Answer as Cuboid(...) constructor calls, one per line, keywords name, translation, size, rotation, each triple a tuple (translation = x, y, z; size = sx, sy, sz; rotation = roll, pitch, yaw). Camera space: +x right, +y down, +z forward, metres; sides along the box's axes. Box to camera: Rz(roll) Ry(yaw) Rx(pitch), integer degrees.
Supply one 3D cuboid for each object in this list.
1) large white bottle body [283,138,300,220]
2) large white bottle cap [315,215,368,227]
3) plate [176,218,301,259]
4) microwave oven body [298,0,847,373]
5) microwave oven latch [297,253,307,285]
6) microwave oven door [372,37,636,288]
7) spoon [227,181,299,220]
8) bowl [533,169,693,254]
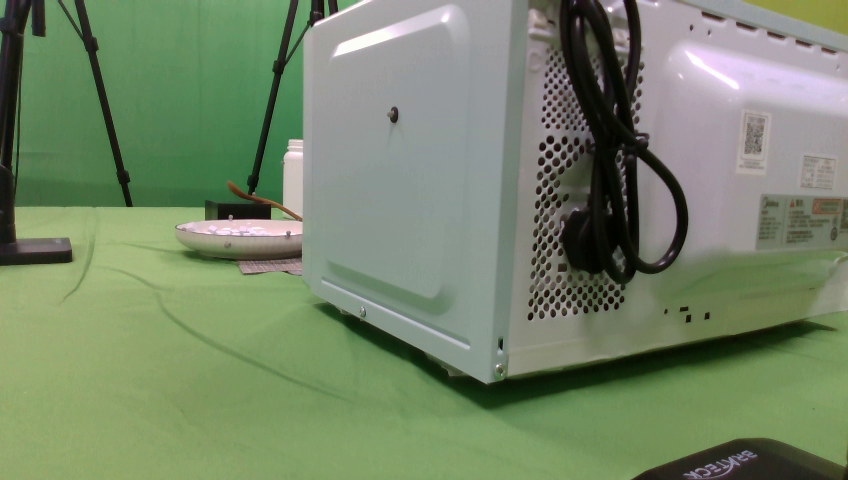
Cuboid(name="large white bottle body", translation=(-0.265, -0.143, 1.424), size=(0.131, 0.184, 0.130), rotation=(2, 7, 0))
Cuboid(name="large white bottle cap", translation=(-0.178, -0.041, 1.308), size=(0.115, 0.018, 0.115), rotation=(2, 6, 0))
Cuboid(name="plate", translation=(-0.248, -0.003, 0.877), size=(0.209, 0.038, 0.209), rotation=(1, 8, 0))
Cuboid(name="microwave oven body", translation=(0.151, -0.055, 0.543), size=(0.444, 0.260, 0.324), rotation=(-1, 7, -33))
Cuboid(name="microwave oven latch", translation=(-0.082, 0.027, 0.582), size=(0.079, 0.029, 0.030), rotation=(-1, 7, -32))
Cuboid(name="microwave oven door", translation=(0.110, -0.080, 0.686), size=(0.358, 0.243, 0.039), rotation=(-2, 9, -33))
Cuboid(name="spoon", translation=(-0.315, -0.074, 1.234), size=(0.195, 0.021, 0.041), rotation=(24, -9, -37))
Cuboid(name="bowl", translation=(0.181, -0.030, 0.596), size=(0.151, 0.077, 0.151), rotation=(1, 7, 0))
